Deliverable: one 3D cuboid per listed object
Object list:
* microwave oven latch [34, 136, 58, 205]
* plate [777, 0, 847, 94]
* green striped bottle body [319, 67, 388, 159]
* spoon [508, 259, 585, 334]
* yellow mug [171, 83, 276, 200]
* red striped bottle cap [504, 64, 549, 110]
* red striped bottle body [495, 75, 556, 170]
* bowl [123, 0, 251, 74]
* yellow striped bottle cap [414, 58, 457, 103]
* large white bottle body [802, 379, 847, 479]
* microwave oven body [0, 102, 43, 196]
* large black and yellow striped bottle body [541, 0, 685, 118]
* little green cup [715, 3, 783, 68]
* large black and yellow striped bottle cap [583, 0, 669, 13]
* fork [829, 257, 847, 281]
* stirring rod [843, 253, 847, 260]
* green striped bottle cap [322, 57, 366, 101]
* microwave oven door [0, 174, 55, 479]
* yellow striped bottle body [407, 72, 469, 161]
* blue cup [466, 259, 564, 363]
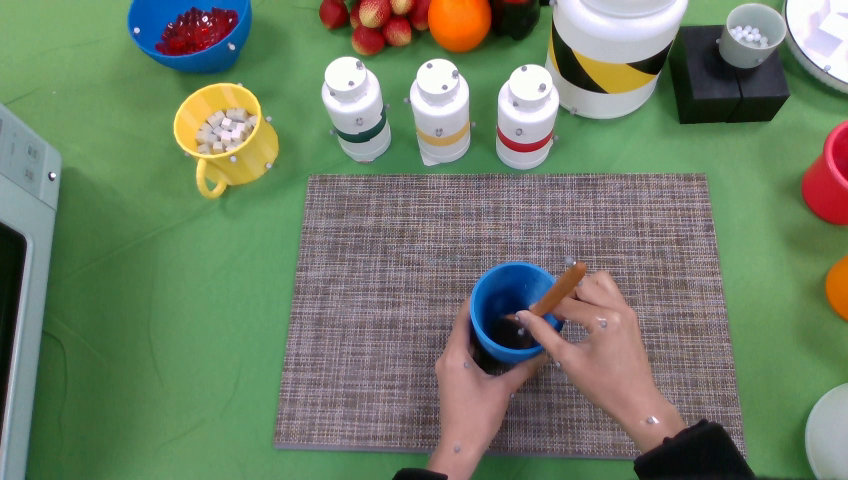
[{"bbox_3d":[-0.446,-0.079,0.700,0.030,0.030,0.078,-7,68,2],"label":"microwave oven latch"},{"bbox_3d":[0.520,-0.248,0.710,0.209,0.038,0.207,-2,68,4],"label":"plate"},{"bbox_3d":[-0.078,-0.146,0.673,0.063,0.120,0.062,-2,67,4],"label":"green striped bottle body"},{"bbox_3d":[0.093,0.059,0.519,0.041,0.194,0.021,38,66,5],"label":"spoon"},{"bbox_3d":[-0.235,-0.108,0.699,0.100,0.064,0.130,10,69,8],"label":"yellow mug"},{"bbox_3d":[0.103,-0.153,0.604,0.044,0.018,0.044,0,66,1],"label":"red striped bottle cap"},{"bbox_3d":[0.109,-0.132,0.652,0.063,0.121,0.062,-3,65,8],"label":"red striped bottle body"},{"bbox_3d":[-0.283,-0.263,0.761,0.151,0.077,0.150,-1,68,4],"label":"bowl"},{"bbox_3d":[0.012,-0.163,0.616,0.044,0.019,0.044,-1,69,3],"label":"yellow striped bottle cap"},{"bbox_3d":[0.405,0.157,0.473,0.130,0.186,0.129,-2,67,5],"label":"large white bottle body"},{"bbox_3d":[-0.577,0.067,0.546,0.326,0.262,0.438,-9,68,1],"label":"microwave oven body"},{"bbox_3d":[0.199,-0.234,0.652,0.131,0.185,0.130,-2,67,4],"label":"large black and yellow striped bottle body"},{"bbox_3d":[0.350,-0.220,0.658,0.061,0.039,0.061,-1,66,3],"label":"little green cup"},{"bbox_3d":[0.191,-0.265,0.574,0.115,0.019,0.114,-2,66,5],"label":"large black and yellow striped bottle cap"},{"bbox_3d":[0.464,0.051,0.531,0.028,0.019,0.205,-34,25,-14],"label":"fork"},{"bbox_3d":[0.436,0.050,0.540,0.014,0.006,0.175,-6,24,1],"label":"stirring rod"},{"bbox_3d":[-0.083,-0.166,0.625,0.044,0.020,0.044,-1,66,3],"label":"green striped bottle cap"},{"bbox_3d":[-0.428,0.083,0.522,0.039,0.245,0.353,-9,67,2],"label":"microwave oven door"},{"bbox_3d":[0.016,-0.143,0.664,0.063,0.121,0.062,-2,67,5],"label":"yellow striped bottle body"},{"bbox_3d":[0.083,0.076,0.574,0.092,0.101,0.092,-1,66,3],"label":"blue cup"}]
